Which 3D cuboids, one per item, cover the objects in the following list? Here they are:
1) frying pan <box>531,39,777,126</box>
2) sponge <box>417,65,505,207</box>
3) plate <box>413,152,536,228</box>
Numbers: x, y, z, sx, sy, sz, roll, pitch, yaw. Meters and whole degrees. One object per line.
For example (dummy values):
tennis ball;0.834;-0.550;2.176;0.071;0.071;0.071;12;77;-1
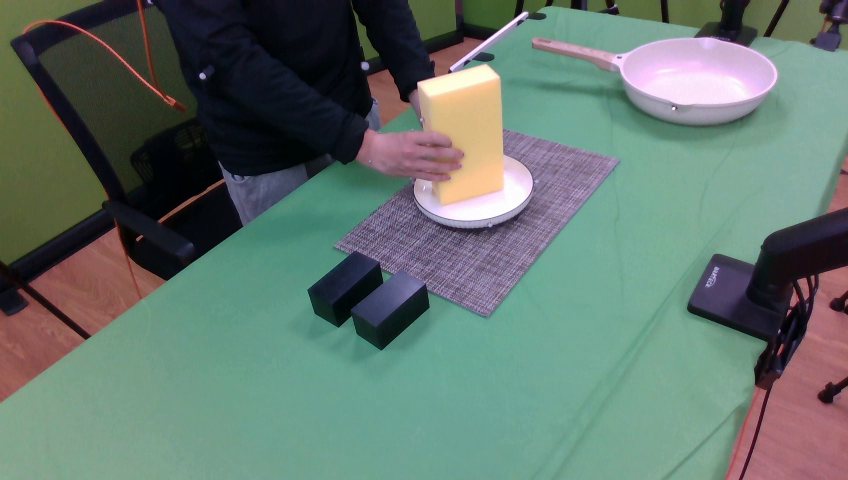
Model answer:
frying pan;0.452;-0.354;1.254;0.485;0.103;0.307;22;47;19
sponge;0.064;-0.167;0.994;0.118;0.208;0.060;-17;40;-10
plate;0.086;-0.085;1.038;0.207;0.039;0.206;-4;41;4
